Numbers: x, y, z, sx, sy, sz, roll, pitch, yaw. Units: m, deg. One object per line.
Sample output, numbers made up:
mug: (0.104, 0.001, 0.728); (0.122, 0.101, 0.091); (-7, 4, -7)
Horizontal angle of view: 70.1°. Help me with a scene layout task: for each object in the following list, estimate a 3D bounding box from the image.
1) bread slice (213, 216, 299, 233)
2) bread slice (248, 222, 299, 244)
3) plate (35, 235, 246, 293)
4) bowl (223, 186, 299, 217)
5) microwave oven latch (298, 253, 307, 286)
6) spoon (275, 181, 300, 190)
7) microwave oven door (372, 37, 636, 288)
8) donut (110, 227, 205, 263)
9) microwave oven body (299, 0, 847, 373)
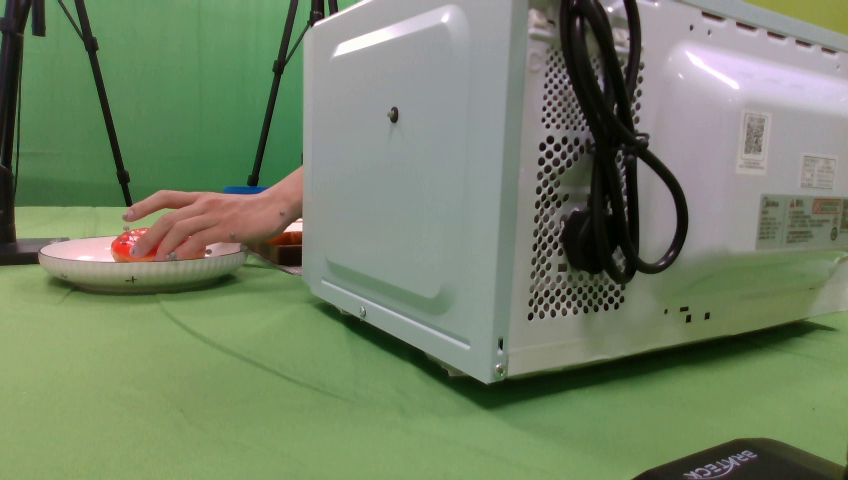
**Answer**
bread slice: (-0.256, -0.026, 0.936); (0.132, 0.019, 0.104); (-4, 8, -40)
bread slice: (-0.174, -0.011, 0.844); (0.135, 0.018, 0.106); (-5, 10, -44)
plate: (-0.305, 0.026, 0.668); (0.208, 0.039, 0.207); (2, 7, 0)
bowl: (-0.330, -0.068, 1.230); (0.151, 0.077, 0.151); (2, 7, 0)
microwave oven latch: (-0.081, 0.027, 0.582); (0.079, 0.029, 0.030); (-1, 7, -31)
spoon: (-0.301, -0.101, 1.260); (0.041, 0.021, 0.194); (12, 29, 33)
microwave oven door: (0.110, -0.080, 0.686); (0.358, 0.243, 0.039); (-2, 8, -33)
donut: (-0.298, 0.011, 0.681); (0.099, 0.048, 0.099); (4, 9, 0)
microwave oven body: (0.151, -0.055, 0.542); (0.444, 0.260, 0.324); (-2, 7, -33)
